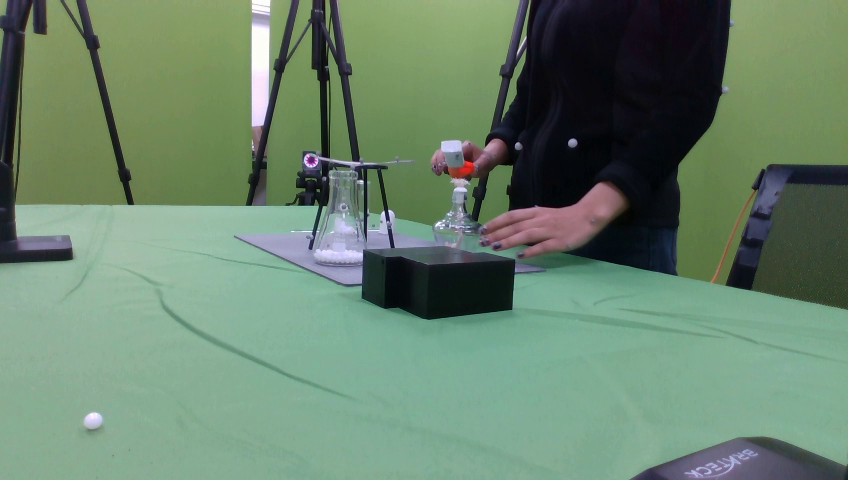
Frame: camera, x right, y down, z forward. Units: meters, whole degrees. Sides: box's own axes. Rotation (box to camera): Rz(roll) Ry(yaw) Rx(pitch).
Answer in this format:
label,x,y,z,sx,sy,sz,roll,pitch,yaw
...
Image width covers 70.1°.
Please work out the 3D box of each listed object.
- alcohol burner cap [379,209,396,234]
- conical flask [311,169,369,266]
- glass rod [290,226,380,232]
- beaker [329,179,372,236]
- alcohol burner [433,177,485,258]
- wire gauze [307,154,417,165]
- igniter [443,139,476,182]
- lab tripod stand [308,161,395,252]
label,x,y,z,sx,sy,sz,roll,pitch,yaw
alcohol burner cap,-0.069,-0.036,1.154,0.034,0.048,0.034,1,7,0
conical flask,-0.107,-0.031,0.786,0.075,0.122,0.075,2,8,0
glass rod,-0.161,-0.022,1.177,0.201,0.008,0.008,-2,8,-29
beaker,-0.137,-0.061,1.101,0.084,0.100,0.074,4,7,20
alcohol burner,0.052,-0.033,0.894,0.078,0.119,0.078,2,9,0
wire gauze,-0.094,-0.120,0.913,0.122,0.011,0.124,-5,11,-45
igniter,0.060,-0.133,1.041,0.057,0.025,0.277,-1,-4,7
lab tripod stand,-0.098,-0.053,0.919,0.148,0.131,0.148,4,7,0
